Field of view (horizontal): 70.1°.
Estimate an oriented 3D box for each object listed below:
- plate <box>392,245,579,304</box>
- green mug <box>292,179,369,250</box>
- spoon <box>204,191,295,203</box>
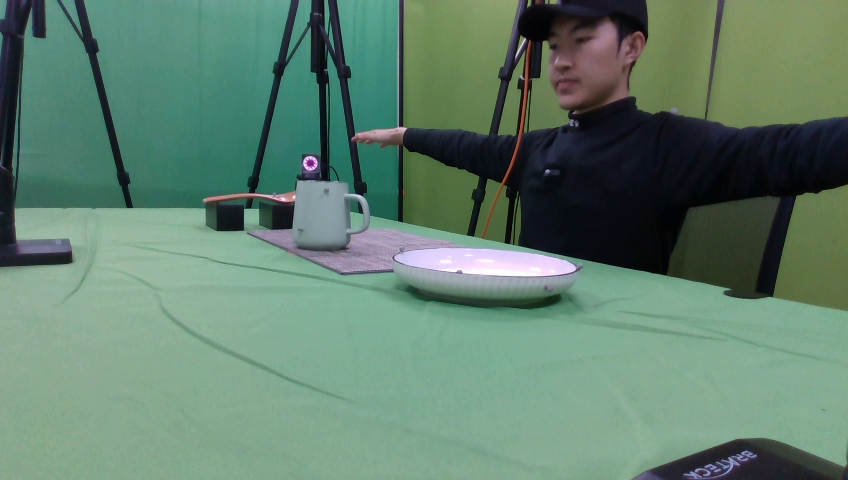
[{"bbox_3d":[0.066,0.038,0.683,0.209,0.038,0.209,2,7,0],"label":"plate"},{"bbox_3d":[-0.144,-0.040,0.944,0.125,0.105,0.093,4,7,16],"label":"green mug"},{"bbox_3d":[-0.339,-0.086,1.208,0.195,0.021,0.041,-2,29,-30],"label":"spoon"}]
